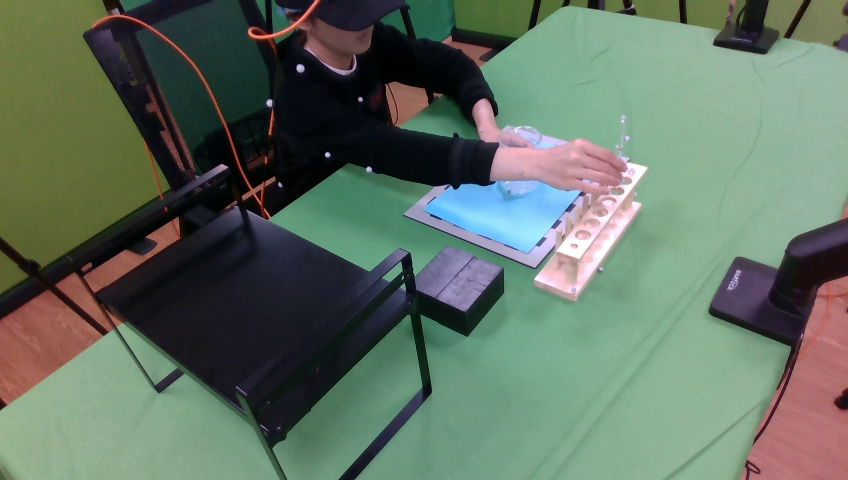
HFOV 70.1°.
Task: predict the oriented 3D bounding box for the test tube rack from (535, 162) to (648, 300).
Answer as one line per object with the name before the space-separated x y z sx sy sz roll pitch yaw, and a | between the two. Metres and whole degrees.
test tube rack | 0.257 -0.024 0.916 0.066 0.085 0.243 22 49 30

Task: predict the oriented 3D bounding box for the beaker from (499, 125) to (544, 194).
beaker | 0.168 -0.138 1.046 0.074 0.101 0.083 -8 40 0

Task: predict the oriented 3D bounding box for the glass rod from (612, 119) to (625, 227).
glass rod | 0.286 -0.092 0.888 0.008 0.201 0.008 -6 44 6
